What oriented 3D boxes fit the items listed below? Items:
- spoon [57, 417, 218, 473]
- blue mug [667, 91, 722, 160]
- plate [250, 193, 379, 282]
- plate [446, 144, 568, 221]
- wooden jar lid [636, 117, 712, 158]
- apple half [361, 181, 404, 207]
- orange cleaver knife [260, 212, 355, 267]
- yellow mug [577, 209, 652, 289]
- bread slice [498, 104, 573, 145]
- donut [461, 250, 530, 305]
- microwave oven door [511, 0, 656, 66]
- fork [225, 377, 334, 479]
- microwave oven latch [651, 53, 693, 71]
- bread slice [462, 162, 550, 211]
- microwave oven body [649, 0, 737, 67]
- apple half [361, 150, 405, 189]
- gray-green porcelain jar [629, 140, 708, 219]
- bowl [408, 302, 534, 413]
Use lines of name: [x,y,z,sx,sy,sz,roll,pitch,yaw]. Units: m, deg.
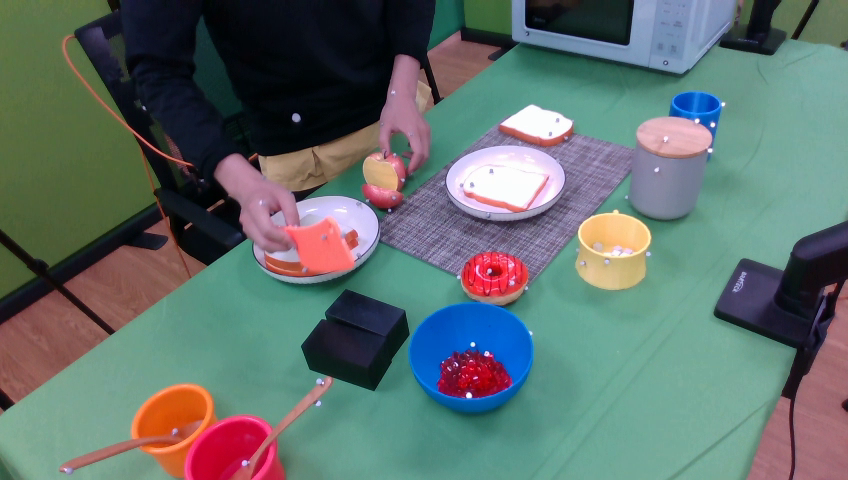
spoon: [-0.304,0.221,0.661,0.041,0.195,0.021,19,92,27]
blue mug: [0.474,-0.207,1.079,0.082,0.106,0.116,4,42,13]
plate: [-0.174,-0.001,0.984,0.209,0.038,0.208,-4,40,3]
plate: [0.142,-0.096,1.045,0.207,0.039,0.206,-4,40,4]
wooden jar lid: [0.377,-0.151,0.917,0.108,0.021,0.108,-2,42,3]
apple half: [-0.074,-0.074,1.050,0.081,0.082,0.032,12,80,21]
orange cleaver knife: [-0.158,0.001,0.802,0.012,0.077,0.209,-30,20,-37]
yellow mug: [0.279,0.004,0.893,0.099,0.064,0.130,5,41,15]
bread slice: [0.231,-0.231,1.205,0.105,0.019,0.130,-36,47,-29]
donut: [0.103,0.053,0.872,0.099,0.048,0.098,-4,40,4]
microwave oven door: [0.351,-0.539,1.349,0.353,0.245,0.039,24,50,31]
fork: [-0.163,0.216,0.646,0.207,0.019,0.028,-49,42,16]
microwave oven latch: [0.532,-0.386,1.301,0.078,0.029,0.030,27,52,34]
bread slice: [0.135,-0.094,1.045,0.133,0.018,0.107,15,45,23]
microwave oven body: [0.475,-0.602,1.411,0.438,0.261,0.327,23,50,32]
apple half: [-0.067,-0.127,1.089,0.080,0.075,0.053,15,36,28]
gray-green porcelain jar: [0.383,-0.105,0.958,0.106,0.127,0.105,-4,41,4]
bowl: [0.059,0.156,0.739,0.151,0.077,0.150,-4,40,4]
